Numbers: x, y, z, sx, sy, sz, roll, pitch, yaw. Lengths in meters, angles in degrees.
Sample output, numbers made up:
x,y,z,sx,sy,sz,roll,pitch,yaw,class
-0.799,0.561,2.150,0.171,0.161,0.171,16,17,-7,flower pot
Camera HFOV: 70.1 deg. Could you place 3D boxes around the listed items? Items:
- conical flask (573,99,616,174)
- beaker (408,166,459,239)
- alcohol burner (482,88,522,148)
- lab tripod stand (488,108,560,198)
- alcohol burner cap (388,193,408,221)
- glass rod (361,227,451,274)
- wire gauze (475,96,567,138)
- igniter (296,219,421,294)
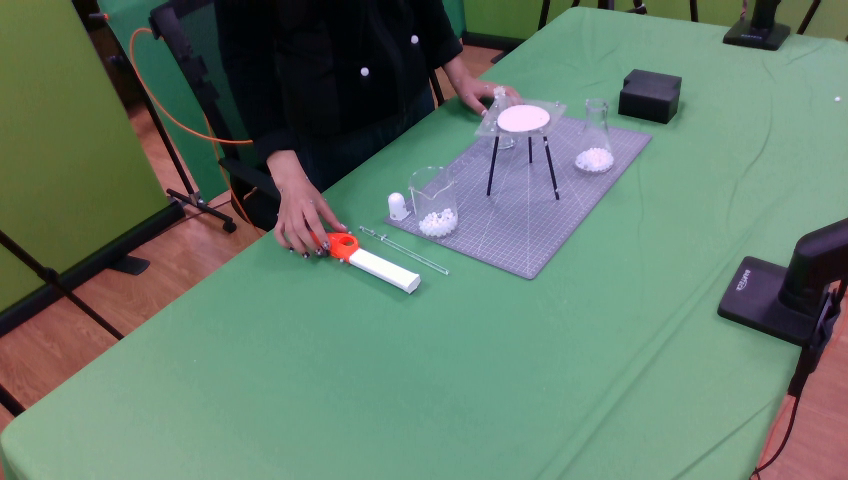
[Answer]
x,y,z,sx,sy,sz,roll,pitch,yaw,class
0.302,-0.184,1.061,0.075,0.122,0.075,-5,40,5,conical flask
0.018,-0.057,0.984,0.074,0.101,0.083,-6,41,6,beaker
0.149,-0.237,1.160,0.078,0.119,0.077,-4,40,4,alcohol burner
0.173,-0.150,1.037,0.148,0.132,0.147,-7,38,6,lab tripod stand
-0.047,-0.059,1.043,0.034,0.048,0.033,-6,41,5,alcohol burner cap
-0.033,0.014,0.985,0.198,0.008,0.008,25,52,34,glass rod
0.161,-0.201,0.994,0.121,0.011,0.125,11,43,23,wire gauze
-0.117,0.021,0.978,0.274,0.025,0.057,24,52,34,igniter
